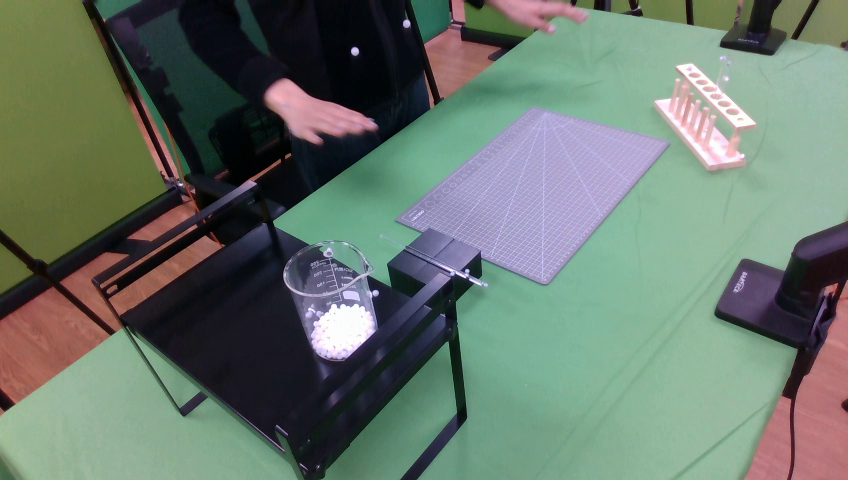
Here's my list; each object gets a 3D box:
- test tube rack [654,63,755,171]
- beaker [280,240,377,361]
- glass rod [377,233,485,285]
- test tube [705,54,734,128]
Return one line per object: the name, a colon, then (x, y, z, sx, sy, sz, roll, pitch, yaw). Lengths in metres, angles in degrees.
test tube rack: (0.510, -0.233, 1.120, 0.067, 0.085, 0.241, -8, 41, -1)
beaker: (-0.084, 0.061, 0.580, 0.084, 0.101, 0.073, -3, 41, 5)
glass rod: (0.005, 0.025, 0.877, 0.198, 0.008, 0.008, 24, 50, 31)
test tube: (0.523, -0.260, 1.073, 0.017, 0.151, 0.017, -4, 46, 4)
